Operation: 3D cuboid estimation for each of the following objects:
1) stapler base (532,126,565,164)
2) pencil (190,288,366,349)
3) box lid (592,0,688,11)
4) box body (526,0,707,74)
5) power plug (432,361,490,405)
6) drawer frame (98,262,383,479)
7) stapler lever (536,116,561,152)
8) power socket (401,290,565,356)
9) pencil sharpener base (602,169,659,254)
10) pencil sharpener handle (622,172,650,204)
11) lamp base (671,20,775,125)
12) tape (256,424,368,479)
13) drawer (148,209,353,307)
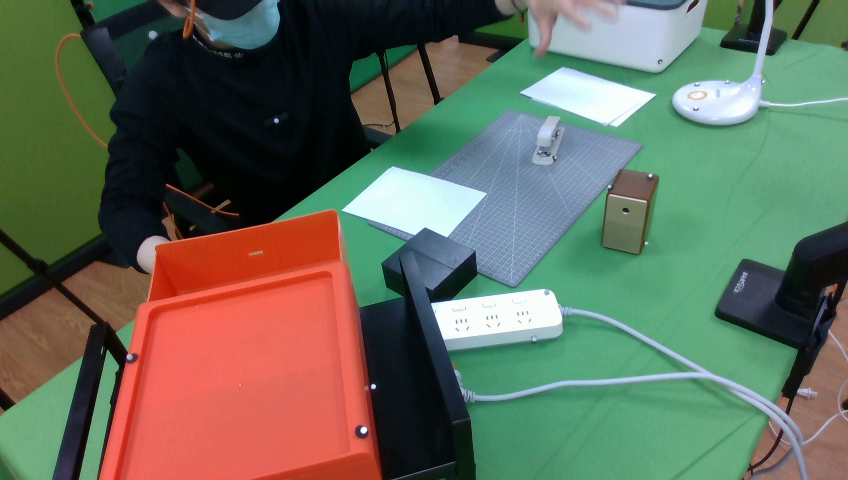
[{"bbox_3d":[0.239,-0.189,1.155,0.041,0.024,0.130,10,42,18],"label":"stapler base"},{"bbox_3d":[-0.150,0.077,0.612,0.194,0.012,0.012,16,44,8],"label":"pencil"},{"bbox_3d":[0.441,-0.596,1.383,0.368,0.015,0.264,24,49,31],"label":"box lid"},{"bbox_3d":[0.450,-0.540,1.430,0.361,0.161,0.255,24,50,31],"label":"box body"},{"bbox_3d":[0.044,0.182,0.759,0.073,0.035,0.052,24,41,-20],"label":"power plug"},{"bbox_3d":[-0.148,0.130,0.518,0.202,0.083,0.212,-12,41,-6],"label":"drawer frame"},{"bbox_3d":[0.236,-0.209,1.140,0.026,0.040,0.118,10,43,18],"label":"stapler lever"},{"bbox_3d":[0.080,0.112,0.822,0.227,0.033,0.072,-6,41,0],"label":"power socket"},{"bbox_3d":[0.312,-0.044,0.914,0.061,0.107,0.077,14,45,24],"label":"pencil sharpener base"},{"bbox_3d":[0.328,-0.086,0.940,0.036,0.068,0.030,29,49,8],"label":"pencil sharpener handle"},{"bbox_3d":[0.582,-0.332,1.153,0.179,0.181,0.160,2,41,7],"label":"lamp base"},{"bbox_3d":[-0.121,0.263,0.659,0.117,0.053,0.116,-5,39,4],"label":"tape"},{"bbox_3d":[-0.167,0.075,0.590,0.195,0.073,0.210,-11,41,-5],"label":"drawer"}]
